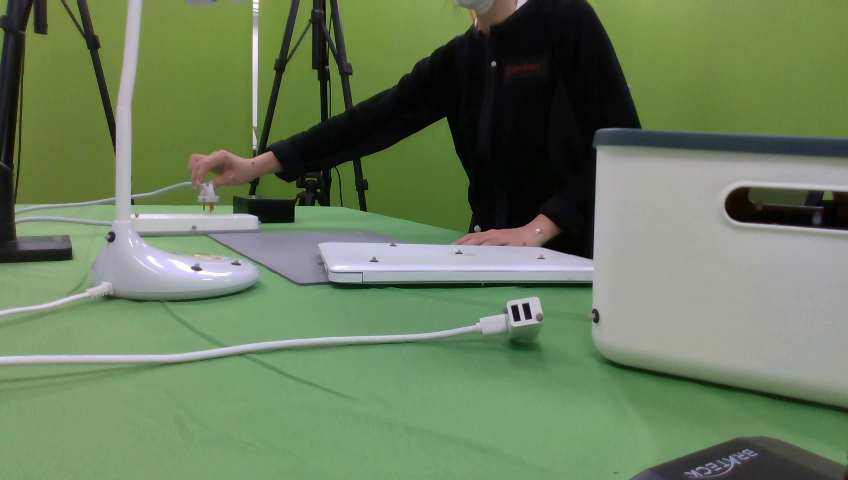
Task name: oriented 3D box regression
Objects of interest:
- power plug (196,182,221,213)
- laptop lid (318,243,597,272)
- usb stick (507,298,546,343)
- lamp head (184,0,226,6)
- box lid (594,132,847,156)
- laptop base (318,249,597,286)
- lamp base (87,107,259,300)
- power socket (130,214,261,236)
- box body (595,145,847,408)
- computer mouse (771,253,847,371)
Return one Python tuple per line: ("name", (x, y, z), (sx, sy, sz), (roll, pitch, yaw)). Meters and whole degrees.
("power plug", (-0.387, -0.077, 1.086), (0.035, 0.052, 0.072), (-2, 11, -26))
("laptop lid", (0.045, 0.022, 0.789), (0.358, 0.013, 0.241), (1, 6, -12))
("usb stick", (0.079, 0.065, 0.470), (0.027, 0.021, 0.059), (-11, -24, 4))
("lamp head", (-0.229, -0.320, 0.627), (0.112, 0.112, 0.123), (6, -35, 26))
("box lid", (0.310, -0.066, 0.499), (0.262, 0.015, 0.373), (7, 8, 29))
("laptop base", (0.046, 0.034, 0.789), (0.355, 0.023, 0.235), (1, 5, -14))
("lamp base", (-0.254, -0.039, 0.603), (0.160, 0.180, 0.179), (4, 10, 18))
("power socket", (-0.397, -0.028, 1.048), (0.228, 0.032, 0.072), (-3, 8, -34))
("box body", (0.309, 0.007, 0.510), (0.253, 0.160, 0.366), (6, 8, 29))
("computer mouse", (0.344, 0.057, 0.518), (0.063, 0.041, 0.117), (13, 48, 3))
